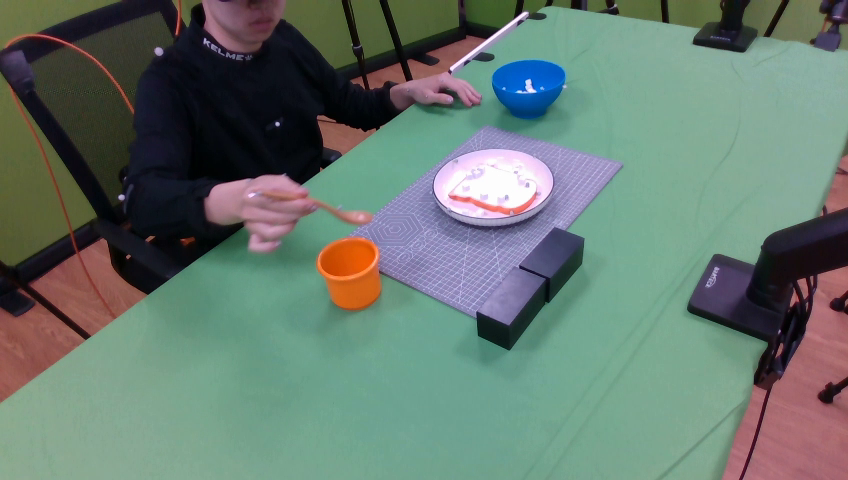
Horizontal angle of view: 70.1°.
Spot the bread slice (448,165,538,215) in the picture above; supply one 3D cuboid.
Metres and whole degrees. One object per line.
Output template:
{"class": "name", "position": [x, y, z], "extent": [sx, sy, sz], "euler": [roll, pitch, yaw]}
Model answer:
{"class": "bread slice", "position": [0.126, -0.085, 1.037], "extent": [0.133, 0.018, 0.107], "euler": [17, 45, 27]}

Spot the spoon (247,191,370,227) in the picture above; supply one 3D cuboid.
{"class": "spoon", "position": [-0.149, -0.043, 0.808], "extent": [0.195, 0.021, 0.041], "euler": [17, 12, -46]}

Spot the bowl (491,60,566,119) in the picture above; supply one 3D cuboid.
{"class": "bowl", "position": [0.215, -0.302, 1.248], "extent": [0.151, 0.077, 0.150], "euler": [-4, 40, 4]}

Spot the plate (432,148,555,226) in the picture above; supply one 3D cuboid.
{"class": "plate", "position": [0.120, -0.087, 1.037], "extent": [0.209, 0.038, 0.208], "euler": [-4, 40, 4]}
